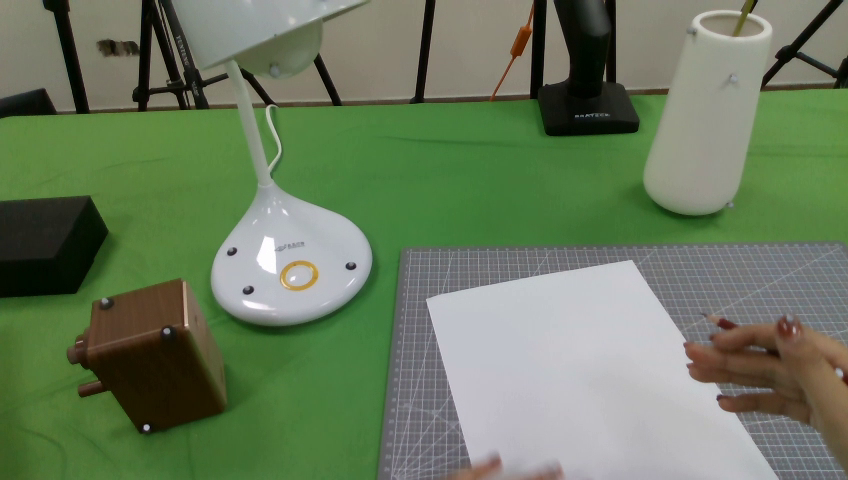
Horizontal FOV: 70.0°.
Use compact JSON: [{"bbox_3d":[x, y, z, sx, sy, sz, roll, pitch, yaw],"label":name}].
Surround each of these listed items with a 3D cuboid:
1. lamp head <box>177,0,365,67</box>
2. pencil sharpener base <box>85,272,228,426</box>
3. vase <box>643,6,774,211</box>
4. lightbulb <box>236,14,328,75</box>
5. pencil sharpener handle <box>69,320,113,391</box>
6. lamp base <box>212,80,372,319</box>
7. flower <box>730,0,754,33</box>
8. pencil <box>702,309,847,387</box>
[{"bbox_3d":[-0.102,-0.175,0.347,0.112,0.123,0.112,-23,16,8],"label":"lamp head"},{"bbox_3d":[-0.208,0.089,0.480,0.077,0.108,0.060,-15,43,-12],"label":"pencil sharpener base"},{"bbox_3d":[0.286,-0.128,0.617,0.098,0.202,0.097,-3,41,3],"label":"vase"},{"bbox_3d":[-0.093,-0.151,0.350,0.059,0.108,0.059,-12,19,5],"label":"lightbulb"},{"bbox_3d":[-0.257,0.092,0.461,0.031,0.068,0.035,-15,47,-12],"label":"pencil sharpener handle"},{"bbox_3d":[-0.143,-0.046,0.571,0.161,0.182,0.177,-22,43,-20],"label":"lamp base"},{"bbox_3d":[0.275,-0.175,0.547,0.043,0.365,0.038,40,71,22],"label":"flower"},{"bbox_3d":[0.234,0.075,0.355,0.012,0.012,0.192,-18,20,-15],"label":"pencil"}]
